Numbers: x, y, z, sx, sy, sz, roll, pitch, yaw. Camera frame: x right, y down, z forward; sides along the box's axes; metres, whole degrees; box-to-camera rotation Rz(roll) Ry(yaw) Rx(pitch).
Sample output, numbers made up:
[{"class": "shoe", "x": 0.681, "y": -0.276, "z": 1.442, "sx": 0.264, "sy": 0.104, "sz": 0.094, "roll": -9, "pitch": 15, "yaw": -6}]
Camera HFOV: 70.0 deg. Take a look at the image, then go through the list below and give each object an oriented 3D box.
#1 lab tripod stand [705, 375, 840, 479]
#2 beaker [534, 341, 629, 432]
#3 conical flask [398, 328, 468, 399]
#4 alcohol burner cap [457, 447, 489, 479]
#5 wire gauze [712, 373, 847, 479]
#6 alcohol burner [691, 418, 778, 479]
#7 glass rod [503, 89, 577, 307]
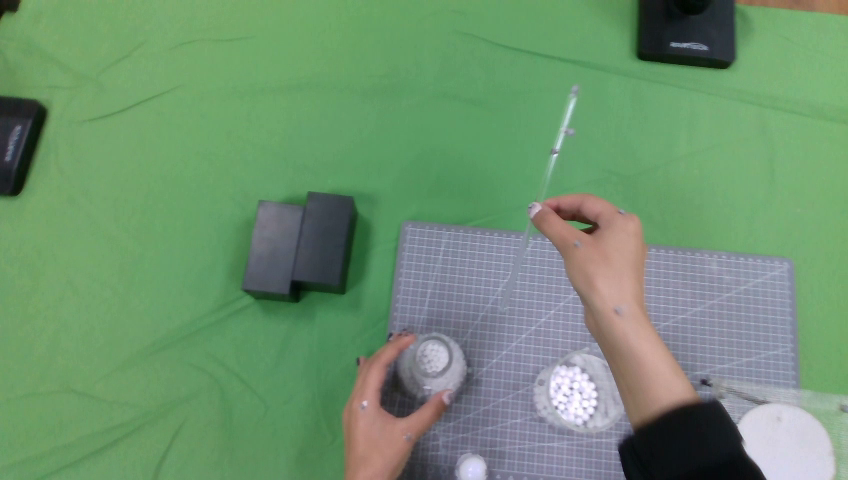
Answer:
[{"class": "lab tripod stand", "x": 0.304, "y": 0.201, "z": 0.571, "sx": 0.148, "sy": 0.132, "sz": 0.147, "roll": 0, "pitch": 76, "yaw": 0}, {"class": "beaker", "x": 0.152, "y": 0.147, "z": 0.603, "sx": 0.074, "sy": 0.101, "sz": 0.083, "roll": 17, "pitch": 74, "yaw": 4}, {"class": "conical flask", "x": 0.009, "y": 0.117, "z": 0.599, "sx": 0.075, "sy": 0.122, "sz": 0.075, "roll": 0, "pitch": 74, "yaw": 0}, {"class": "alcohol burner cap", "x": 0.051, "y": 0.227, "z": 0.611, "sx": 0.034, "sy": 0.048, "sz": 0.033, "roll": 0, "pitch": 75, "yaw": 0}, {"class": "wire gauze", "x": 0.304, "y": 0.181, "z": 0.507, "sx": 0.125, "sy": 0.011, "sz": 0.121, "roll": 8, "pitch": 76, "yaw": 3}, {"class": "alcohol burner", "x": 0.305, "y": 0.210, "z": 0.579, "sx": 0.078, "sy": 0.120, "sz": 0.077, "roll": -1, "pitch": 74, "yaw": 3}, {"class": "glass rod", "x": 0.098, "y": -0.029, "z": 0.518, "sx": 0.008, "sy": 0.008, "sz": 0.200, "roll": 15, "pitch": 111, "yaw": 4}]
